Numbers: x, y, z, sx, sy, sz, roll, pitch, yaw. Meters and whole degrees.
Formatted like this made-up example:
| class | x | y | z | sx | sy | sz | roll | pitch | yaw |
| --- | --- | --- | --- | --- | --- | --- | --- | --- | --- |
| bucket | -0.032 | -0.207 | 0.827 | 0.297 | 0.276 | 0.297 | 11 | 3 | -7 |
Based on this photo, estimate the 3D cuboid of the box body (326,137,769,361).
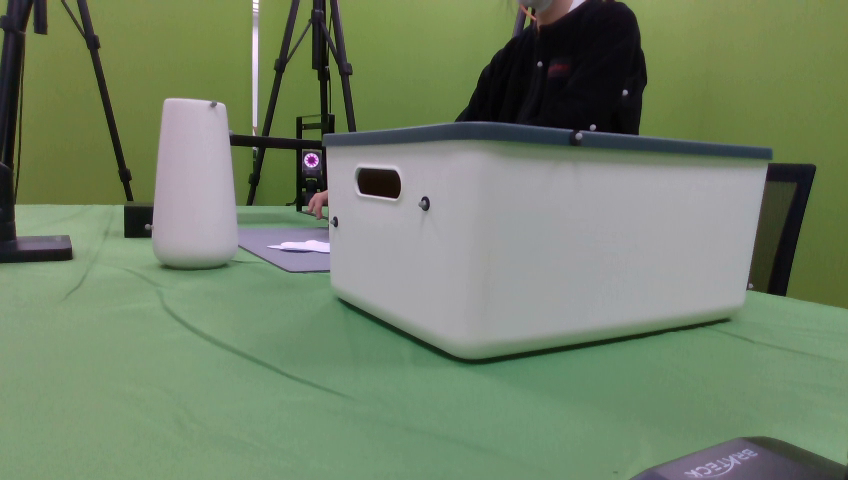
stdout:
| class | x | y | z | sx | sy | sz | roll | pitch | yaw |
| --- | --- | --- | --- | --- | --- | --- | --- | --- | --- |
| box body | 0.112 | -0.010 | 0.583 | 0.366 | 0.160 | 0.253 | -2 | 9 | -33 |

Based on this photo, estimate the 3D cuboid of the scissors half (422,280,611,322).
| class | x | y | z | sx | sy | sz | roll | pitch | yaw |
| --- | --- | --- | --- | --- | --- | --- | --- | --- | --- |
| scissors half | 0.073 | 0.057 | 0.524 | 0.174 | 0.040 | 0.013 | 5 | 39 | 30 |

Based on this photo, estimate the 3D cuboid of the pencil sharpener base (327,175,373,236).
| class | x | y | z | sx | sy | sz | roll | pitch | yaw |
| --- | --- | --- | --- | --- | --- | --- | --- | --- | --- |
| pencil sharpener base | -0.139 | -0.065 | 1.119 | 0.062 | 0.107 | 0.076 | -2 | 8 | -31 |

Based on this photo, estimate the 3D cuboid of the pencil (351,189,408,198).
| class | x | y | z | sx | sy | sz | roll | pitch | yaw |
| --- | --- | --- | --- | --- | --- | --- | --- | --- | --- |
| pencil | -0.081 | -0.080 | 1.026 | 0.012 | 0.012 | 0.193 | -2 | 7 | -33 |

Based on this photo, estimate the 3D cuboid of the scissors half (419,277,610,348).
| class | x | y | z | sx | sy | sz | roll | pitch | yaw |
| --- | --- | --- | --- | --- | --- | --- | --- | --- | --- |
| scissors half | 0.076 | 0.067 | 0.533 | 0.174 | 0.040 | 0.013 | 14 | 50 | 24 |

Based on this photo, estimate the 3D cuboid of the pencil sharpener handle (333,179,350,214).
| class | x | y | z | sx | sy | sz | roll | pitch | yaw |
| --- | --- | --- | --- | --- | --- | --- | --- | --- | --- |
| pencil sharpener handle | -0.162 | -0.084 | 1.162 | 0.036 | 0.068 | 0.030 | -15 | 15 | -29 |

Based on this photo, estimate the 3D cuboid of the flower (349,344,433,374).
| class | x | y | z | sx | sy | sz | roll | pitch | yaw |
| --- | --- | --- | --- | --- | --- | --- | --- | --- | --- |
| flower | 0.103 | 0.072 | 0.592 | 0.362 | 0.044 | 0.038 | -17 | 44 | -9 |

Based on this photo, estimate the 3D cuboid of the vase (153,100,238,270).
| class | x | y | z | sx | sy | sz | roll | pitch | yaw |
| --- | --- | --- | --- | --- | --- | --- | --- | --- | --- |
| vase | -0.278 | -0.066 | 0.736 | 0.098 | 0.200 | 0.098 | 2 | 9 | 0 |

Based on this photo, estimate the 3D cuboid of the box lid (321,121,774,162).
| class | x | y | z | sx | sy | sz | roll | pitch | yaw |
| --- | --- | --- | --- | --- | --- | --- | --- | --- | --- |
| box lid | 0.113 | -0.085 | 0.573 | 0.373 | 0.015 | 0.262 | -2 | 7 | -33 |
